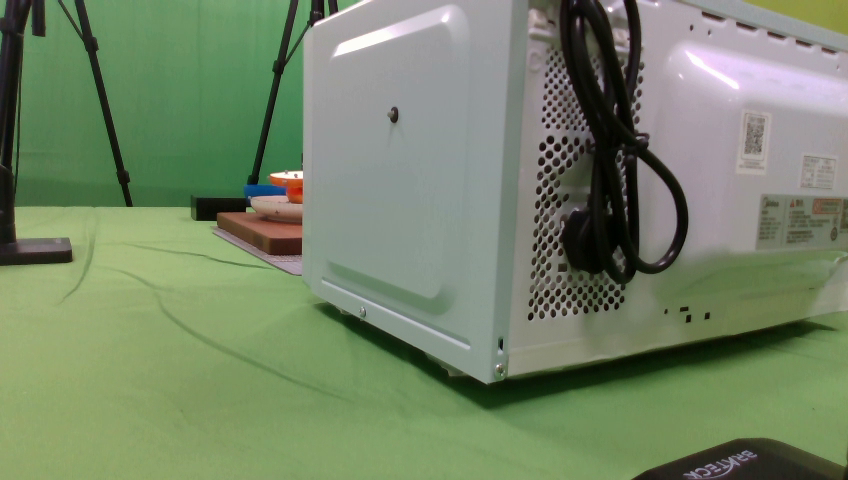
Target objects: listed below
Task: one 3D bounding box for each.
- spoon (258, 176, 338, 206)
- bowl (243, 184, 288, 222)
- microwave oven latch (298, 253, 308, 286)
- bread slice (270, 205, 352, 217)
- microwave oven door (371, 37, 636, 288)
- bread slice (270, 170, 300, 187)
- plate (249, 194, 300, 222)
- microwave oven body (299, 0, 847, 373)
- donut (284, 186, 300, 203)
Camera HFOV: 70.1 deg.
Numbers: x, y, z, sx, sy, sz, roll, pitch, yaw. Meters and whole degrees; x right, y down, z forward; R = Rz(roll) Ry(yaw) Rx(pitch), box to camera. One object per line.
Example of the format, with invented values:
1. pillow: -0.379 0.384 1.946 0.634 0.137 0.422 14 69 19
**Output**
1. spoon: -0.279 -0.112 1.356 0.194 0.021 0.041 -28 18 -27
2. bowl: -0.321 -0.081 1.333 0.151 0.077 0.151 3 7 0
3. microwave oven latch: -0.081 0.027 0.582 0.079 0.029 0.030 -1 7 -32
4. bread slice: -0.213 -0.054 1.116 0.104 0.019 0.132 6 5 41
5. microwave oven door: 0.110 -0.080 0.686 0.358 0.243 0.039 -2 9 -33
6. bread slice: -0.213 -0.116 1.112 0.106 0.018 0.135 9 17 38
7. plate: -0.217 -0.058 1.122 0.208 0.039 0.207 3 7 0
8. microwave oven body: 0.152 -0.055 0.542 0.444 0.260 0.324 -2 7 -33
9. donut: -0.210 -0.087 1.124 0.099 0.048 0.099 3 0 0
